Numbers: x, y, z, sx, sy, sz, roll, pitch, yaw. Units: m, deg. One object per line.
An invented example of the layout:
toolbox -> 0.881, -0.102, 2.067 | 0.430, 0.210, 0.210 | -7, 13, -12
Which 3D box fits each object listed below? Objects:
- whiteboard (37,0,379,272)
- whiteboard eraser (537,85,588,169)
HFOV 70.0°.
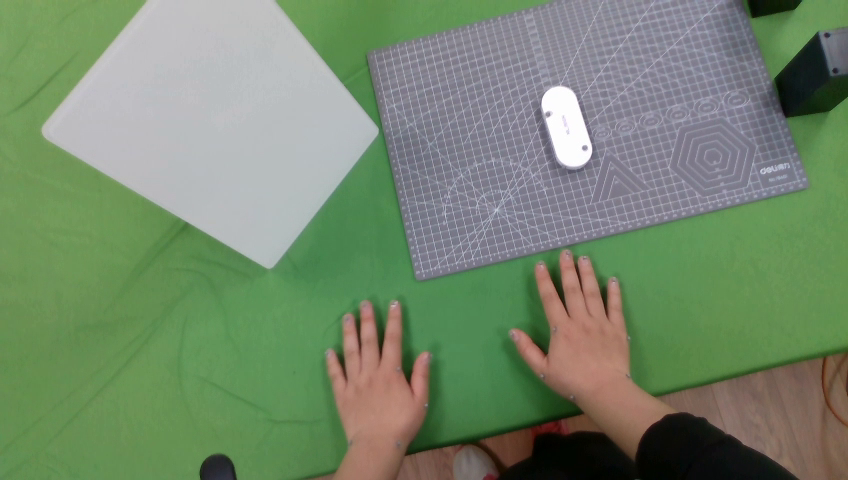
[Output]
whiteboard -> -0.225, -0.138, 0.643 | 0.142, 0.308, 0.217 | 34, 85, 32
whiteboard eraser -> 0.161, -0.132, 0.706 | 0.041, 0.019, 0.101 | -15, 78, 3
